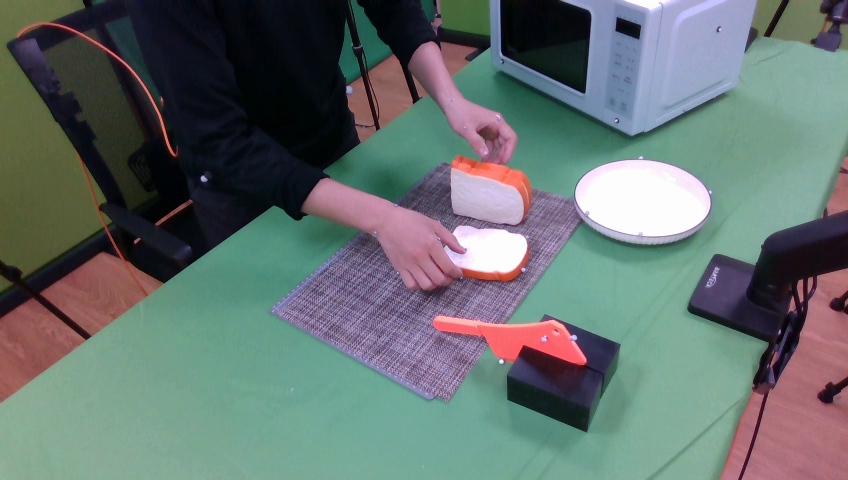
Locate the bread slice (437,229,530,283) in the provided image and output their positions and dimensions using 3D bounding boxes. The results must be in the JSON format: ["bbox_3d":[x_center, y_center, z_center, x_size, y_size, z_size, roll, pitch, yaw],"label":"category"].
[{"bbox_3d":[0.094,0.025,0.929,0.133,0.018,0.107,7,47,30],"label":"bread slice"}]

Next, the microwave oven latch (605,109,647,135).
[{"bbox_3d":[0.378,-0.225,1.139,0.030,0.029,0.078,-26,43,-19],"label":"microwave oven latch"}]

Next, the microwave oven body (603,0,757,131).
[{"bbox_3d":[0.396,-0.448,1.248,0.327,0.261,0.437,-27,44,-21],"label":"microwave oven body"}]

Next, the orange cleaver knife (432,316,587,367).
[{"bbox_3d":[0.101,0.127,0.761,0.210,0.077,0.012,-1,34,40],"label":"orange cleaver knife"}]

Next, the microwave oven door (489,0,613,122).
[{"bbox_3d":[0.250,-0.412,1.219,0.039,0.245,0.352,-27,44,-21],"label":"microwave oven door"}]

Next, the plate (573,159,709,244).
[{"bbox_3d":[0.347,-0.059,0.979,0.207,0.039,0.206,-4,41,4],"label":"plate"}]
